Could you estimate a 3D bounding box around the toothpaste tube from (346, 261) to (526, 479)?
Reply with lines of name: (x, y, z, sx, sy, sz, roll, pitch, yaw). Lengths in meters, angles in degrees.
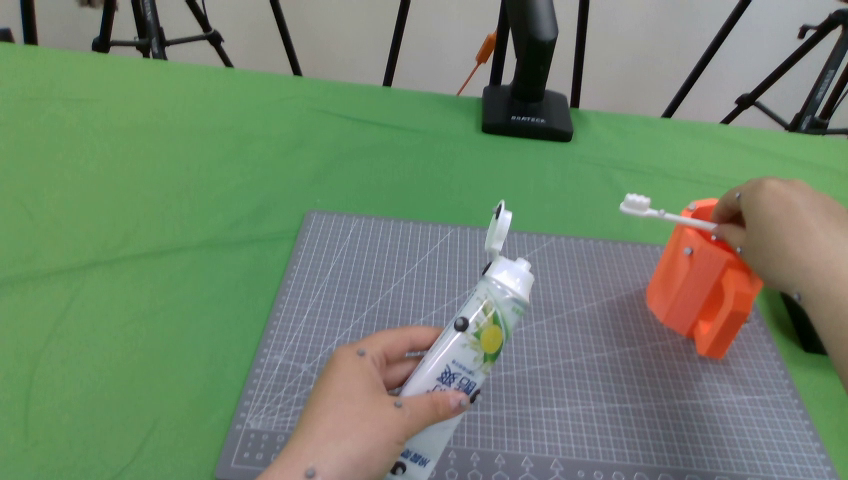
toothpaste tube: (0.016, 0.083, 0.384, 0.055, 0.165, 0.034, 33, -6, -15)

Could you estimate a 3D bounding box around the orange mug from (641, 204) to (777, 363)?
orange mug: (0.249, 0.041, 0.530, 0.083, 0.101, 0.125, 11, 36, 6)

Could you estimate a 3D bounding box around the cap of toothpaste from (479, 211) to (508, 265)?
cap of toothpaste: (0.046, -0.002, 0.395, 0.011, 0.037, 0.037, 19, 41, 7)

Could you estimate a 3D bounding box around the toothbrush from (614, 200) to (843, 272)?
toothbrush: (0.250, -0.004, 0.502, 0.181, 0.017, 0.014, 16, 37, 11)
